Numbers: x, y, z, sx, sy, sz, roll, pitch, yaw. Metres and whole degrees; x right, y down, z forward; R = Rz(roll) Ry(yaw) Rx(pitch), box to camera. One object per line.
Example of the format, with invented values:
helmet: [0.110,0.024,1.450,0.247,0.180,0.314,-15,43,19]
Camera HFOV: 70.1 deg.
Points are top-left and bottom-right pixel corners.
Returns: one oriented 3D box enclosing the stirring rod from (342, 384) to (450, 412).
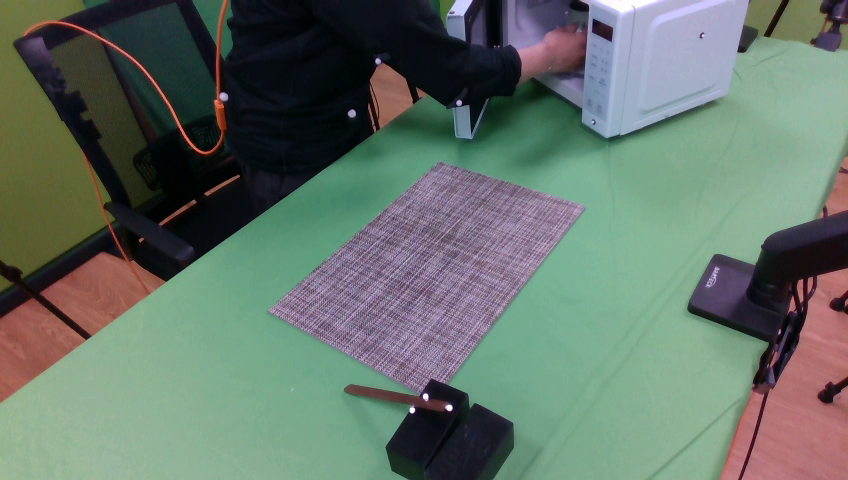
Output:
stirring rod: [-0.038,0.185,0.714,0.175,0.006,0.014,-3,22,43]

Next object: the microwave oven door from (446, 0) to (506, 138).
microwave oven door: [0.114,-0.405,1.229,0.039,0.245,0.355,5,42,16]

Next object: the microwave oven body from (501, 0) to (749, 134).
microwave oven body: [0.382,-0.444,1.246,0.327,0.261,0.437,-22,42,-16]

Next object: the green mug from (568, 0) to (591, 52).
green mug: [0.341,-0.447,1.254,0.092,0.105,0.125,12,47,26]

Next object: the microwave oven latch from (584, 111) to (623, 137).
microwave oven latch: [0.337,-0.222,1.142,0.030,0.029,0.078,-21,42,-14]
